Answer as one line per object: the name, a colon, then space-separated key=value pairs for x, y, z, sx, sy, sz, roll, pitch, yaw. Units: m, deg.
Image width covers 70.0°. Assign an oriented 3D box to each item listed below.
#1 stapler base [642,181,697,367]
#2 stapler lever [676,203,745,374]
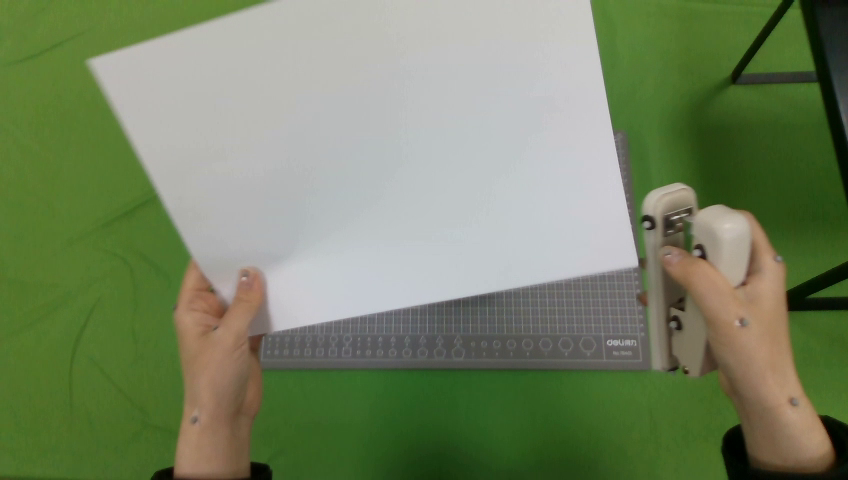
stapler base: x=0.170 y=0.027 z=0.404 sx=0.041 sy=0.024 sz=0.131 roll=-15 pitch=111 yaw=-16
stapler lever: x=0.180 y=0.034 z=0.383 sx=0.027 sy=0.040 sz=0.119 roll=-15 pitch=109 yaw=-16
